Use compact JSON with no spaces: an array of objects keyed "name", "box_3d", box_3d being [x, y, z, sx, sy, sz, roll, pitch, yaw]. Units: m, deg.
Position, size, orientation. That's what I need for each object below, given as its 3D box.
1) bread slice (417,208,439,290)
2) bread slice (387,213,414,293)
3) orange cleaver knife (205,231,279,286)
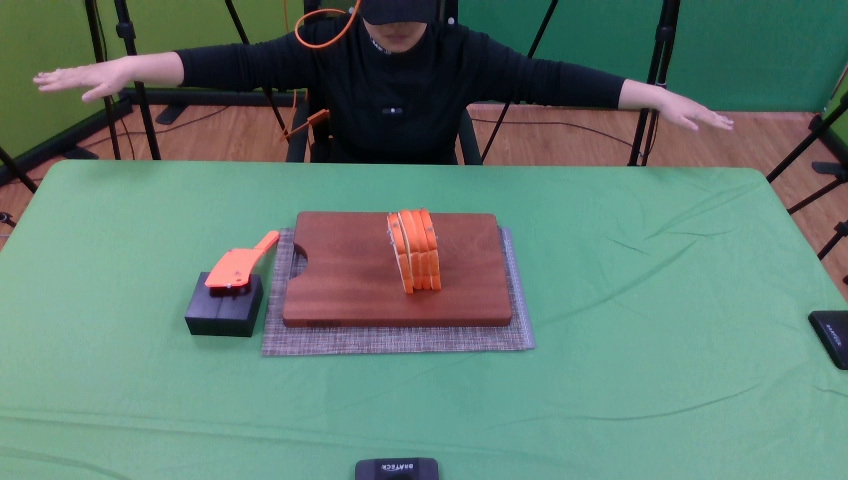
[{"name":"bread slice","box_3d":[0.007,0.012,1.073,0.018,0.135,0.106,-11,51,-7]},{"name":"bread slice","box_3d":[-0.043,0.016,1.067,0.019,0.132,0.104,-15,46,-4]},{"name":"orange cleaver knife","box_3d":[-0.328,0.031,1.109,0.077,0.012,0.210,5,27,7]}]
